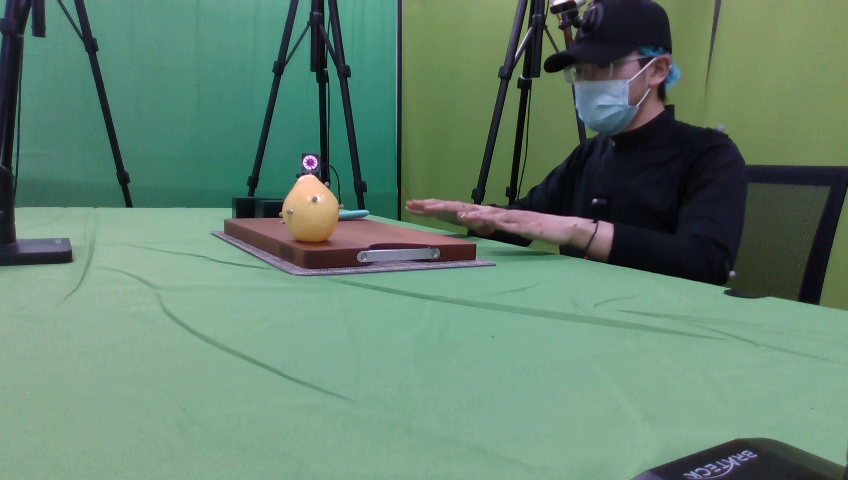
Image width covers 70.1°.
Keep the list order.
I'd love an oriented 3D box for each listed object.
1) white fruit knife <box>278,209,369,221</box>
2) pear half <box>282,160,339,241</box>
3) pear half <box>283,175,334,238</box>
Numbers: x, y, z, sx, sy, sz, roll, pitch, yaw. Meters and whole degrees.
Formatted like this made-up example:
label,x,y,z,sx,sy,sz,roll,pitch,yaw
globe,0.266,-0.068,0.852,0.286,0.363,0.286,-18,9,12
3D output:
label,x,y,z,sx,sy,sz,roll,pitch,yaw
white fruit knife,-0.182,-0.044,1.104,0.027,0.016,0.208,-10,-1,39
pear half,-0.151,-0.052,0.812,0.077,0.110,0.055,-5,10,-22
pear half,-0.164,-0.047,0.847,0.071,0.088,0.031,-9,12,-22
